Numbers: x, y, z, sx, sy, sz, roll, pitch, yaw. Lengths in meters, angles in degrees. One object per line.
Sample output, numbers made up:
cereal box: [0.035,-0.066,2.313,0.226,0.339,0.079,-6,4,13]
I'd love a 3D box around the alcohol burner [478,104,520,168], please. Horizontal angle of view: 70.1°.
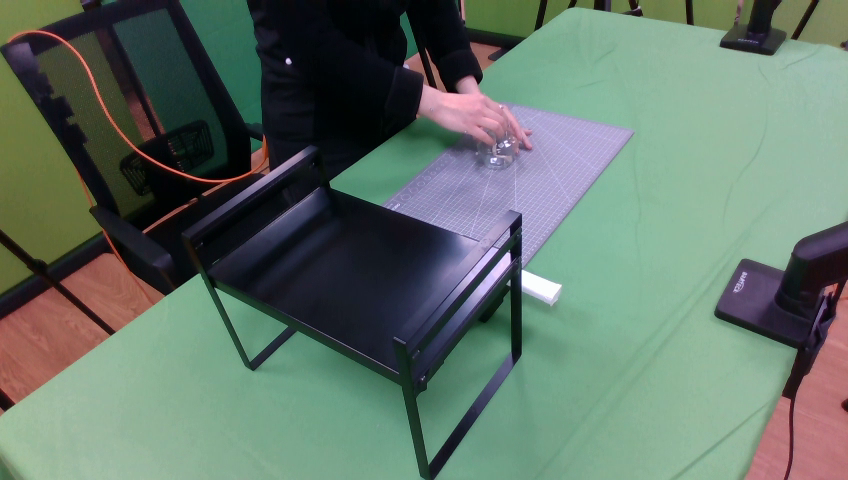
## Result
alcohol burner: [0.136,-0.194,1.107,0.078,0.119,0.077,-5,39,5]

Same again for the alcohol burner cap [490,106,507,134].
alcohol burner cap: [0.133,-0.217,1.087,0.034,0.048,0.033,-6,43,6]

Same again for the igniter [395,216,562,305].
igniter: [0.066,0.023,0.864,0.274,0.025,0.057,24,48,28]
